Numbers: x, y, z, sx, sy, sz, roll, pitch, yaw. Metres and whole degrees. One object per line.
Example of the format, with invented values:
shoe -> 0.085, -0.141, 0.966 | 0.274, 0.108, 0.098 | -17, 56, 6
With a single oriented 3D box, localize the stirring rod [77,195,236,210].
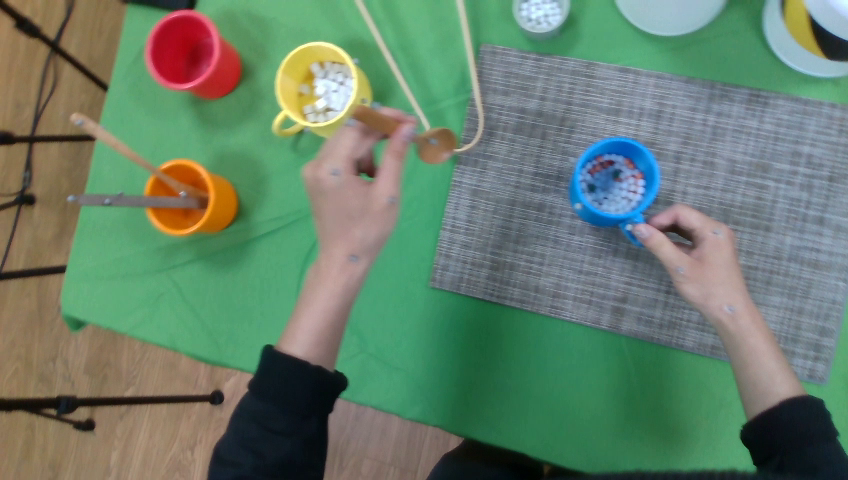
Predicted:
stirring rod -> -0.317, -0.045, 0.730 | 0.177, 0.006, 0.014 | 0, 82, -32

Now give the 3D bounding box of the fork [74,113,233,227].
fork -> -0.318, -0.081, 0.724 | 0.028, 0.018, 0.209 | -49, 124, 0

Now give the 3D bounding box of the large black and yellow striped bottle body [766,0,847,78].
large black and yellow striped bottle body -> 0.430, -0.246, 0.584 | 0.130, 0.184, 0.130 | 0, 87, 10

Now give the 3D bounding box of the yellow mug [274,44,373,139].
yellow mug -> -0.131, -0.169, 0.739 | 0.131, 0.064, 0.099 | -39, 83, 8

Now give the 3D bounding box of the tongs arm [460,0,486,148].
tongs arm -> 0.031, -0.302, 0.712 | 0.028, 0.028, 0.387 | -11, 93, 1

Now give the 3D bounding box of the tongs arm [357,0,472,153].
tongs arm -> -0.047, -0.273, 0.722 | 0.051, 0.026, 0.384 | -25, 91, 5

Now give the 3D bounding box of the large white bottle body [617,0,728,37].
large white bottle body -> 0.270, -0.301, 0.613 | 0.130, 0.185, 0.130 | 0, 87, 10

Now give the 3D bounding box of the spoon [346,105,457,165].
spoon -> -0.013, -0.091, 0.522 | 0.021, 0.194, 0.041 | 46, 105, 14

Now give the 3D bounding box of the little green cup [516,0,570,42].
little green cup -> 0.139, -0.263, 0.709 | 0.061, 0.039, 0.061 | 0, 88, 10

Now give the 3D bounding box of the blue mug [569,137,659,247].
blue mug -> 0.208, -0.044, 0.652 | 0.082, 0.106, 0.116 | -27, 84, 8
